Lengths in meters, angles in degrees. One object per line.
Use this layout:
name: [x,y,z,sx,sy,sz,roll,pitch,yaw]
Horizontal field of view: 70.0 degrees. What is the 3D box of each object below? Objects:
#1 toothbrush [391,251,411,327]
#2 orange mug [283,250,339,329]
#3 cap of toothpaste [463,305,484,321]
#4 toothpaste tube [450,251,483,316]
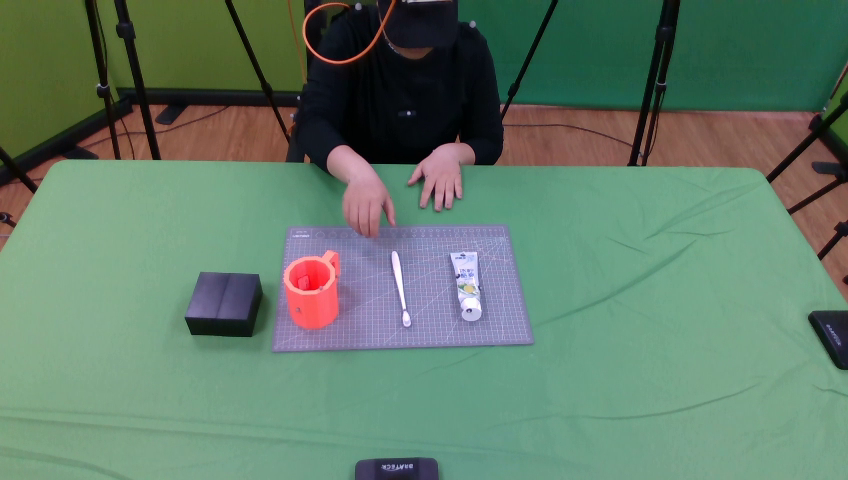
toothbrush: [-0.044,0.085,1.112,0.014,0.017,0.180,-14,46,1]
orange mug: [-0.186,0.078,1.052,0.083,0.101,0.126,20,52,15]
cap of toothpaste: [0.087,0.127,1.064,0.037,0.037,0.011,2,40,-2]
toothpaste tube: [0.084,0.077,1.122,0.055,0.035,0.164,3,41,-8]
